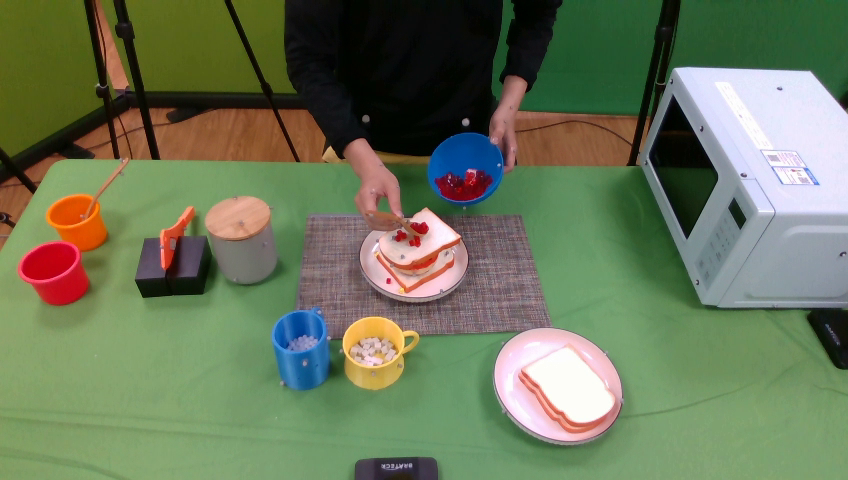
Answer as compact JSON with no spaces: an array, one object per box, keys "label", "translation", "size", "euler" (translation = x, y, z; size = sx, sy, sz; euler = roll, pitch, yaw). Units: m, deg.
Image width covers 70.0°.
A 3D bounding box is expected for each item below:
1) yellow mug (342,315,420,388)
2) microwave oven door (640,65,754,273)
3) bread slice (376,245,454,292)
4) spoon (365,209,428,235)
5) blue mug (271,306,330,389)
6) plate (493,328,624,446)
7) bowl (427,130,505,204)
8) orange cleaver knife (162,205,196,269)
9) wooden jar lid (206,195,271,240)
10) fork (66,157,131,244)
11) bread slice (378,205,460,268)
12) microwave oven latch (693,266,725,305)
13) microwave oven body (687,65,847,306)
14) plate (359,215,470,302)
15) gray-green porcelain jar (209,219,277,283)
[{"label":"yellow mug","translation":[-0.068,0.177,0.990],"size":[0.131,0.064,0.099],"euler":[-15,50,-19]},{"label":"microwave oven door","translation":[0.523,-0.147,1.193],"size":[0.039,0.245,0.353],"euler":[0,47,-3]},{"label":"bread slice","translation":[-0.010,0.033,1.149],"size":[0.131,0.019,0.104],"euler":[-27,55,-26]},{"label":"spoon","translation":[-0.045,-0.034,1.011],"size":[0.041,0.194,0.021],"euler":[44,100,25]},{"label":"blue mug","translation":[-0.188,0.163,0.969],"size":[0.082,0.106,0.116],"euler":[15,47,10]},{"label":"plate","translation":[0.213,0.236,0.974],"size":[0.208,0.039,0.206],"euler":[2,47,-2]},{"label":"bowl","translation":[0.089,-0.131,1.189],"size":[0.151,0.077,0.150],"euler":[-5,70,15]},{"label":"orange cleaver knife","translation":[-0.454,-0.010,1.129],"size":[0.012,0.077,0.210],"euler":[-2,20,-5]},{"label":"wooden jar lid","translation":[-0.319,-0.036,1.046],"size":[0.108,0.021,0.107],"euler":[1,44,0]},{"label":"fork","translation":[-0.608,-0.074,1.132],"size":[0.207,0.019,0.028],"euler":[-52,47,10]},{"label":"bread slice","translation":[-0.014,-0.002,1.098],"size":[0.134,0.018,0.106],"euler":[-34,51,-23]},{"label":"microwave oven latch","translation":[0.523,0.081,1.115],"size":[0.030,0.029,0.078],"euler":[3,46,0]},{"label":"microwave oven body","translation":[0.669,-0.111,1.176],"size":[0.326,0.261,0.439],"euler":[0,46,-3]},{"label":"plate","translation":[-0.018,0.038,1.140],"size":[0.209,0.038,0.208],"euler":[2,46,-2]},{"label":"gray-green porcelain jar","translation":[-0.323,0.007,1.092],"size":[0.106,0.127,0.105],"euler":[2,46,-2]}]
